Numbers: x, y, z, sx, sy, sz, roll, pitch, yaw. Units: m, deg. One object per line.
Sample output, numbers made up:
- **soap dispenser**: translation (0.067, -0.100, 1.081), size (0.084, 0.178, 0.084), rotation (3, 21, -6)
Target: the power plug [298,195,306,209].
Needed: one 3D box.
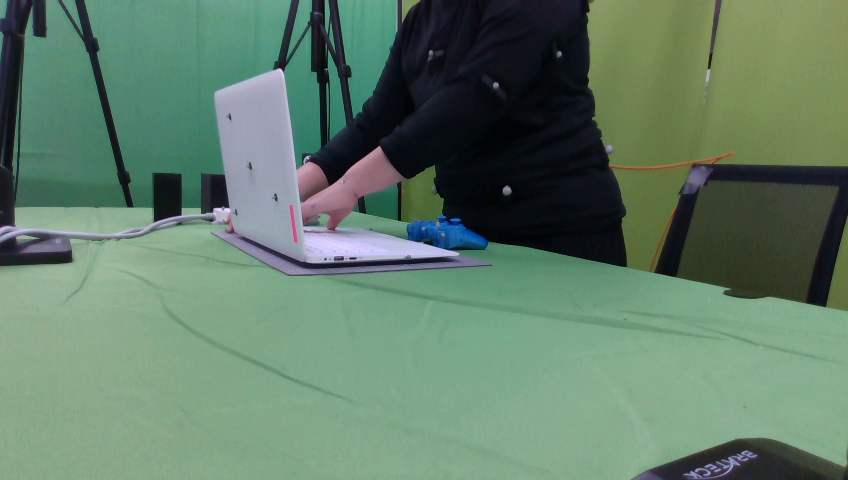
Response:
- **power plug**: translation (-0.283, -0.074, 1.341), size (0.035, 0.052, 0.072), rotation (-1, 3, -18)

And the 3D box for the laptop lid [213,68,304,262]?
- **laptop lid**: translation (-0.247, -0.107, 0.865), size (0.013, 0.241, 0.355), rotation (-11, 14, -30)

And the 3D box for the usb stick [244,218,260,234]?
- **usb stick**: translation (-0.304, -0.024, 1.070), size (0.021, 0.027, 0.059), rotation (6, -2, -23)

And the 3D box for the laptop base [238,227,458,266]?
- **laptop base**: translation (-0.137, 0.007, 0.950), size (0.237, 0.023, 0.352), rotation (2, 6, -32)

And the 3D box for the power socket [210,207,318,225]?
- **power socket**: translation (-0.335, -0.051, 1.280), size (0.228, 0.032, 0.072), rotation (-1, 9, -29)

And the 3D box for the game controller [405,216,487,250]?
- **game controller**: translation (0.033, -0.013, 1.066), size (0.097, 0.051, 0.154), rotation (-7, 10, -29)
